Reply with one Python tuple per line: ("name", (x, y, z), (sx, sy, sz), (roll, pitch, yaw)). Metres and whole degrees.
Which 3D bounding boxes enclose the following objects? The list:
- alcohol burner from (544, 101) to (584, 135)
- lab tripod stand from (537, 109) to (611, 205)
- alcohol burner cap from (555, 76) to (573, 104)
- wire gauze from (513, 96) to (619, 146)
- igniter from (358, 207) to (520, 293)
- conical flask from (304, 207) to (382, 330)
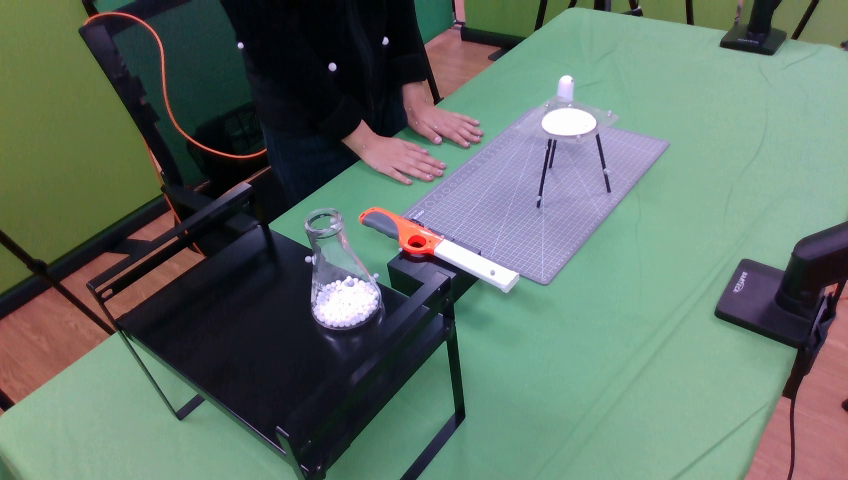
("alcohol burner", (0.269, -0.256, 1.161), (0.078, 0.119, 0.077), (-5, 38, 5))
("lab tripod stand", (0.244, -0.141, 1.014), (0.148, 0.132, 0.147), (-3, 39, 3))
("alcohol burner cap", (0.266, -0.284, 1.139), (0.034, 0.048, 0.033), (-1, 34, 1))
("wire gauze", (0.229, -0.190, 0.969), (0.120, 0.011, 0.125), (26, 50, 33))
("igniter", (0.014, 0.008, 0.886), (0.274, 0.025, 0.057), (25, 53, 29))
("conical flask", (-0.088, 0.025, 0.601), (0.075, 0.122, 0.075), (-5, 40, 5))
